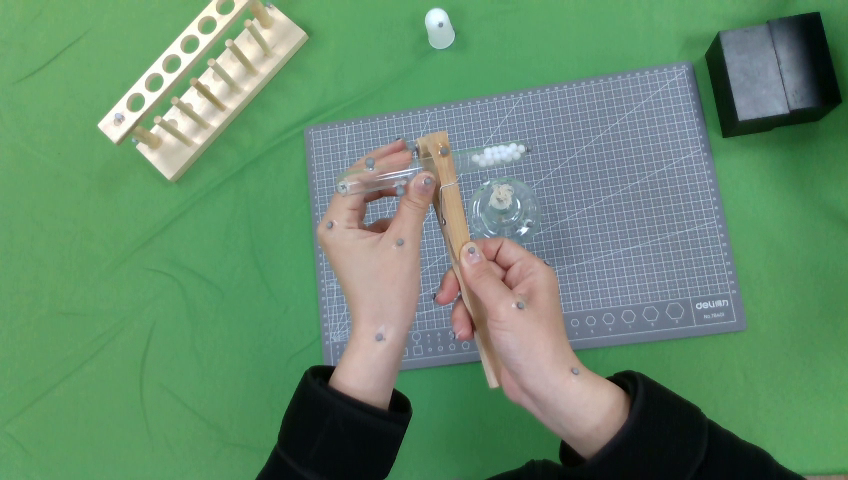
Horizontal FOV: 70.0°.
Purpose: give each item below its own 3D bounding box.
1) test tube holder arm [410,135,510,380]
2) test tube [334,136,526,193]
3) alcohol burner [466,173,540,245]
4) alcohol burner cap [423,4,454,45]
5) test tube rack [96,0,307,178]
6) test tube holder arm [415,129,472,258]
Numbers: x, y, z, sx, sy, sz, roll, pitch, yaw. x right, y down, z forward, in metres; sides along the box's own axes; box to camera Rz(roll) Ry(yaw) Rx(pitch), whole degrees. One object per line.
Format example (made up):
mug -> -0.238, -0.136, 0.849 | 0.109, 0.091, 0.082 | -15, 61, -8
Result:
test tube holder arm -> 0.026, 0.012, 0.419 | 0.015, 0.013, 0.178 | -20, 96, -14
test tube -> 0.010, -0.053, 0.410 | 0.151, 0.017, 0.017 | -15, 76, -29
alcohol burner -> 0.080, -0.036, 0.620 | 0.078, 0.120, 0.077 | -2, 78, 10
alcohol burner cap -> 0.015, -0.253, 0.702 | 0.034, 0.048, 0.033 | -3, 75, 11
test tube rack -> -0.254, -0.192, 0.709 | 0.066, 0.085, 0.242 | 42, 89, 12
test tube holder arm -> 0.014, -0.031, 0.407 | 0.015, 0.010, 0.088 | -20, 104, -15
